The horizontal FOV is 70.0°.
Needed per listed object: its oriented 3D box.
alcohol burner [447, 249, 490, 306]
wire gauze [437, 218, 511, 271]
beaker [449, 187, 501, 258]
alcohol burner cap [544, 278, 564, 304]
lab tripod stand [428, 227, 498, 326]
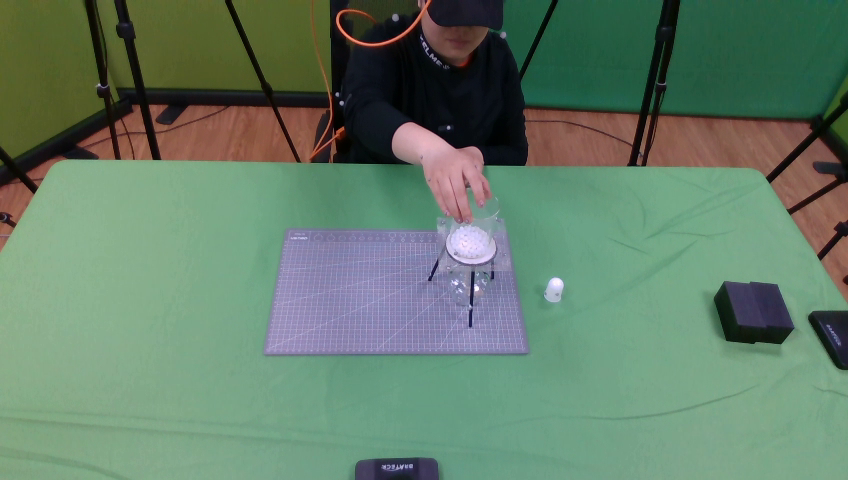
[{"bbox_3d":[0.080,0.062,1.078,0.078,0.120,0.077,1,45,-1],"label":"alcohol burner"},{"bbox_3d":[0.083,0.007,1.026,0.121,0.011,0.124,3,44,-5],"label":"wire gauze"},{"bbox_3d":[0.080,-0.027,0.991,0.074,0.101,0.083,4,46,-3],"label":"beaker"},{"bbox_3d":[0.241,0.090,1.117,0.034,0.048,0.033,2,44,-2],"label":"alcohol burner cap"},{"bbox_3d":[0.079,0.056,1.070,0.148,0.132,0.147,3,47,-3],"label":"lab tripod stand"}]
